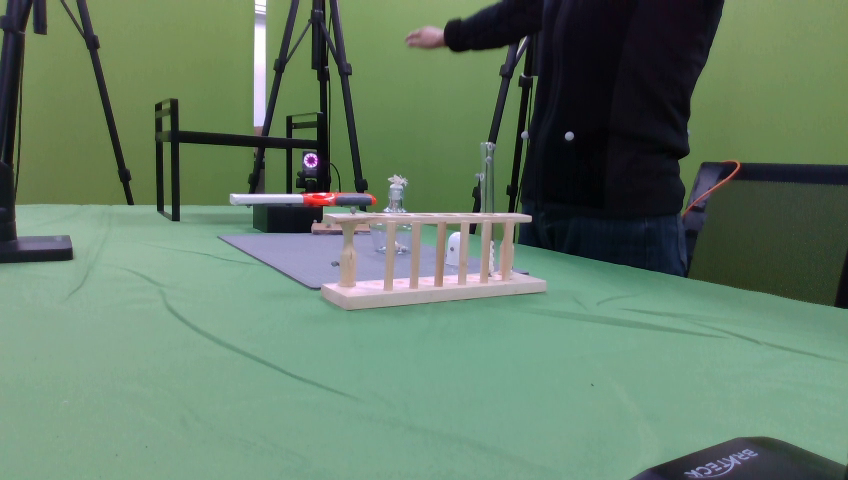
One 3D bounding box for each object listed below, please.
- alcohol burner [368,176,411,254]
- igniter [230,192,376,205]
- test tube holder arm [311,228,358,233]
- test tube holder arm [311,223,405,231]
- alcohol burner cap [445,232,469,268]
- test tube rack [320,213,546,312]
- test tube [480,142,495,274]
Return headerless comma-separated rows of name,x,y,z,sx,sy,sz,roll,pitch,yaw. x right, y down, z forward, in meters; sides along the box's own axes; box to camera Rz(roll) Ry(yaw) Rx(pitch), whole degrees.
alcohol burner,-0.045,-0.038,0.913,0.078,0.119,0.078,4,7,0
igniter,-0.226,-0.079,1.161,0.278,0.025,0.057,-2,15,-28
test tube holder arm,-0.163,-0.021,1.102,0.088,0.015,0.010,-2,-21,-23
test tube holder arm,-0.119,-0.024,1.116,0.179,0.015,0.013,-2,-21,-23
alcohol burner cap,0.045,0.013,0.829,0.034,0.048,0.034,2,8,0
test tube rack,0.018,0.017,0.638,0.244,0.085,0.066,-2,9,-31
test tube,0.072,-0.036,0.686,0.017,0.150,0.017,-1,5,0
